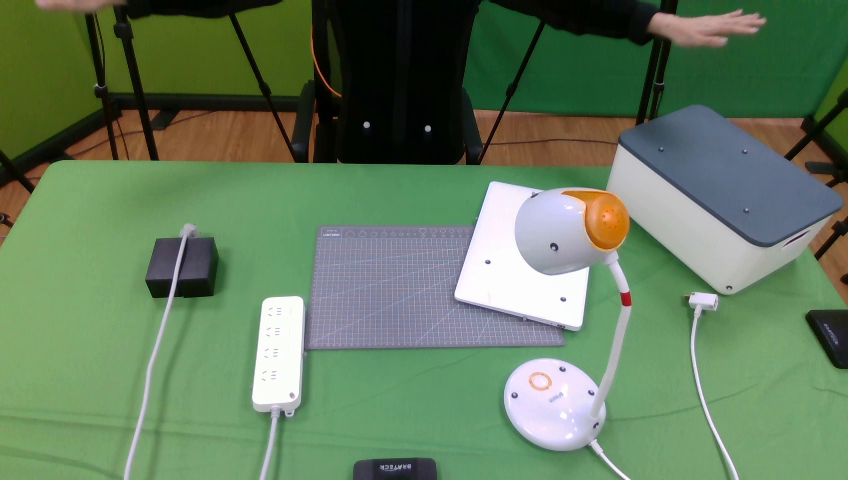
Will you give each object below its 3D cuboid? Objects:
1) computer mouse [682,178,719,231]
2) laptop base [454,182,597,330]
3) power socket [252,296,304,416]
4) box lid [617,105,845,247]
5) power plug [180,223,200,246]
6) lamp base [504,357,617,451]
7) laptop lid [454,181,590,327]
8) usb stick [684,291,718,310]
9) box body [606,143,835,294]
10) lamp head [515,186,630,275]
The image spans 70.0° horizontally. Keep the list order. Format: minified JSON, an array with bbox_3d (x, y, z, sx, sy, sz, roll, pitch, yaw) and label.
[{"bbox_3d":[0.596,-0.078,1.289,0.117,0.041,0.062,56,44,-8],"label":"computer mouse"},{"bbox_3d":[0.211,0.018,1.202,0.235,0.023,0.352,11,46,11],"label":"laptop base"},{"bbox_3d":[-0.238,0.181,0.997,0.072,0.033,0.225,-3,47,-5],"label":"power socket"},{"bbox_3d":[0.586,-0.138,1.176,0.263,0.015,0.369,-22,51,-23],"label":"box lid"},{"bbox_3d":[-0.450,-0.004,1.138,0.035,0.053,0.072,24,32,1],"label":"power plug"},{"bbox_3d":[0.220,0.211,0.903,0.160,0.181,0.178,-33,59,-30],"label":"lamp base"},{"bbox_3d":[0.210,0.010,1.193,0.241,0.013,0.355,13,46,11],"label":"laptop lid"},{"bbox_3d":[0.509,0.111,1.121,0.059,0.021,0.027,6,54,46],"label":"usb stick"},{"bbox_3d":[0.582,-0.088,1.230,0.254,0.161,0.361,-22,52,-23],"label":"box body"},{"bbox_3d":[0.188,-0.013,0.728,0.112,0.112,0.122,-25,9,-25],"label":"lamp head"}]
